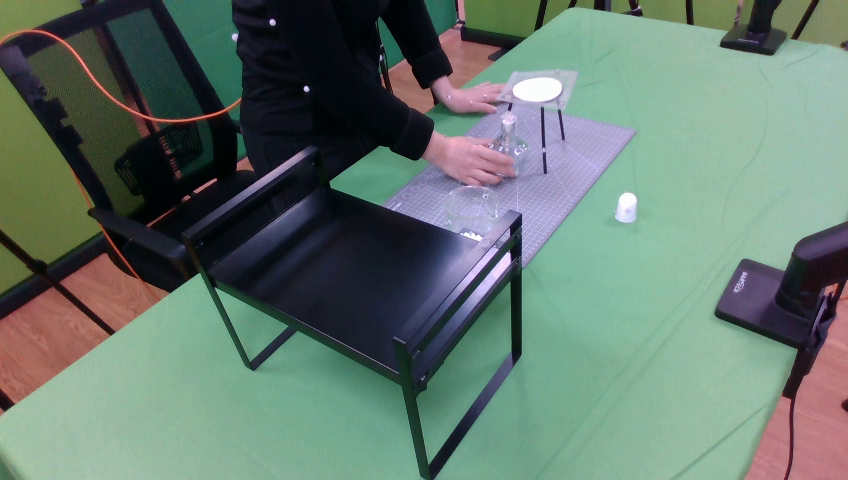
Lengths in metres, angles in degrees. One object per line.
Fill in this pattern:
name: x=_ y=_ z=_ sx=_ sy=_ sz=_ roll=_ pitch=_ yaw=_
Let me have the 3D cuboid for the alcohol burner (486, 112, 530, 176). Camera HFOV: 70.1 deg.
alcohol burner: x=0.151 y=-0.176 z=1.083 sx=0.078 sy=0.119 sz=0.077 roll=-1 pitch=40 yaw=2

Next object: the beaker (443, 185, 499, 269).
beaker: x=0.071 y=-0.015 z=0.844 sx=0.074 sy=0.101 sz=0.083 roll=-35 pitch=48 yaw=-29

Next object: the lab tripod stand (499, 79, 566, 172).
lab tripod stand: x=0.204 y=-0.215 z=1.107 sx=0.148 sy=0.132 sz=0.147 roll=-6 pitch=41 yaw=5

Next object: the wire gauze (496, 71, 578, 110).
wire gauze: x=0.199 y=-0.268 z=1.065 sx=0.124 sy=0.011 sz=0.121 roll=10 pitch=44 yaw=22

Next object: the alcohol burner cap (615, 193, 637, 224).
alcohol burner cap: x=0.327 y=-0.054 z=0.974 sx=0.034 sy=0.048 sz=0.033 roll=-4 pitch=38 yaw=3
